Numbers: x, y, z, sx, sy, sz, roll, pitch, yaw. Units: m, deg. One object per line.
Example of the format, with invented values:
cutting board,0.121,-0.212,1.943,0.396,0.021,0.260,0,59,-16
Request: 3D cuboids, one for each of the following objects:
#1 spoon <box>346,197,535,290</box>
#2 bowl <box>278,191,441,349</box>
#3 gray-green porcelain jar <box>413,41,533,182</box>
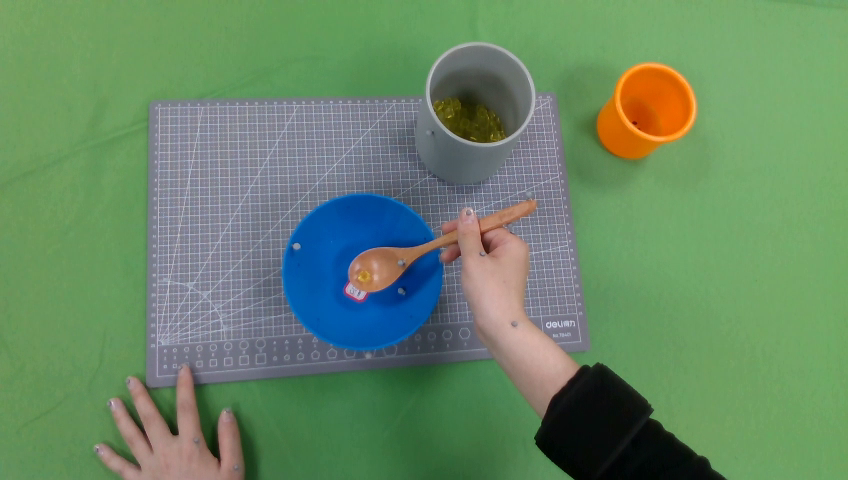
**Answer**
spoon,0.011,0.002,0.553,0.193,0.022,0.041,-22,78,24
bowl,-0.062,0.034,0.597,0.152,0.077,0.150,2,77,-7
gray-green porcelain jar,0.044,-0.123,0.620,0.106,0.127,0.105,2,77,-7
